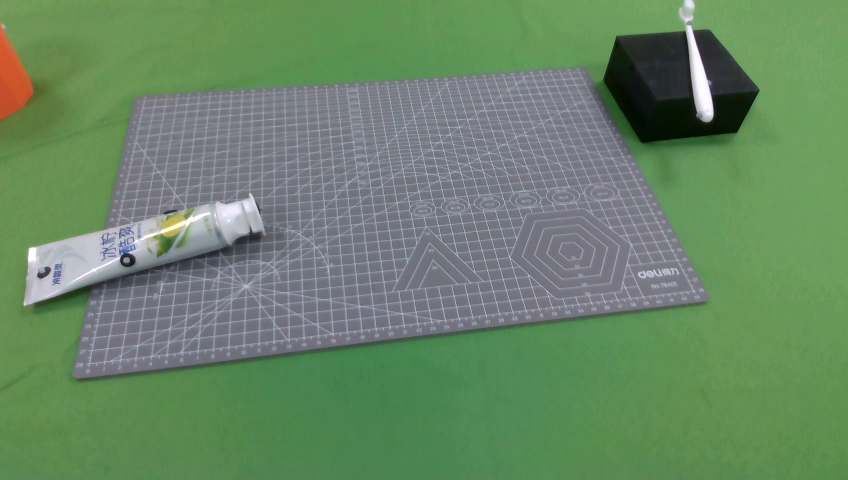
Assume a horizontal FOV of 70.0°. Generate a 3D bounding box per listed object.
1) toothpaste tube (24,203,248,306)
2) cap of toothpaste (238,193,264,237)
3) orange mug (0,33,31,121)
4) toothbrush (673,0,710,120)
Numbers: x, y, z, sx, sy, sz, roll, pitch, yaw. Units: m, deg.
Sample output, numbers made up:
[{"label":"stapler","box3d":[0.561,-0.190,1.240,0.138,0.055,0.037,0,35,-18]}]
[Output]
[{"label":"toothpaste tube","box3d":[-0.211,0.003,0.452,0.165,0.035,0.054,-16,48,-10]},{"label":"cap of toothpaste","box3d":[-0.133,-0.019,0.465,0.011,0.037,0.037,-22,54,-19]},{"label":"orange mug","box3d":[-0.427,-0.153,0.526,0.083,0.101,0.126,27,50,18]},{"label":"toothbrush","box3d":[0.248,-0.173,0.563,0.014,0.017,0.180,10,52,2]}]
